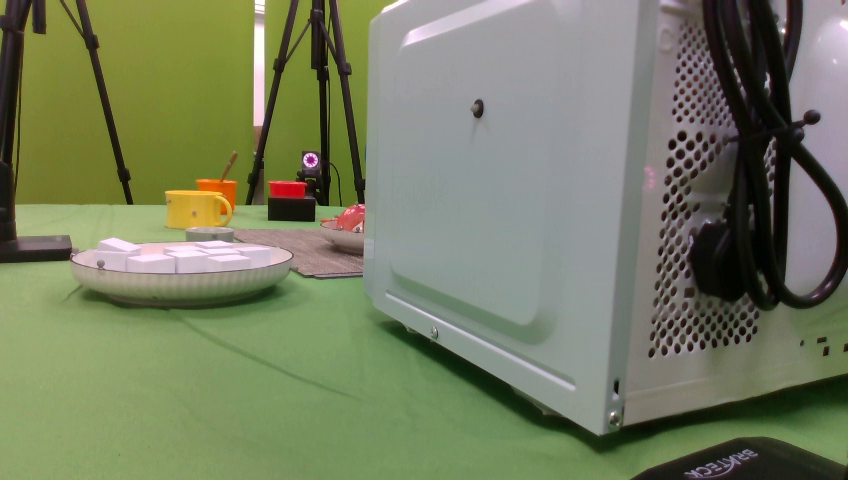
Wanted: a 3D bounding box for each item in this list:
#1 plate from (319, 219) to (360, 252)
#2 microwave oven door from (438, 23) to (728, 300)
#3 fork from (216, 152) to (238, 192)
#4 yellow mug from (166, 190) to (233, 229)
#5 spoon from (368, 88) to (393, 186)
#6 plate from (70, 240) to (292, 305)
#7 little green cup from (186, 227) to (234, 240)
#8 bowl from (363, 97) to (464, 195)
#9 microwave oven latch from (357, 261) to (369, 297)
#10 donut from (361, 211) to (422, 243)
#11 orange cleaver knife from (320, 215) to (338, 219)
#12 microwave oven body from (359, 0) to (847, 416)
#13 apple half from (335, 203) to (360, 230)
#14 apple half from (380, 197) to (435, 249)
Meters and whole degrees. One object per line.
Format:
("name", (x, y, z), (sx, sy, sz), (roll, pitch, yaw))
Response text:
("plate", (-0.058, -0.007, 0.939), (0.209, 0.038, 0.209), (3, 8, 0))
("microwave oven door", (0.181, -0.072, 0.621), (0.358, 0.243, 0.039), (-2, 8, -29))
("fork", (-0.455, -0.132, 1.367), (0.028, 0.018, 0.207), (-2, -35, -37))
("yellow mug", (-0.415, -0.057, 1.132), (0.130, 0.064, 0.100), (6, 8, 16))
("spoon", (-0.071, -0.167, 0.962), (0.021, 0.193, 0.042), (-17, -29, 17))
("plate", (-0.242, 0.031, 0.618), (0.208, 0.039, 0.207), (2, 8, 0))
("little green cup", (-0.285, 0.005, 0.805), (0.061, 0.038, 0.061), (2, 8, 0))
("bowl", (-0.002, -0.115, 0.847), (0.152, 0.151, 0.076), (-2, 40, -29))
("microwave oven latch", (-0.019, 0.033, 0.531), (0.079, 0.029, 0.030), (-1, 7, -27))
("donut", (-0.052, -0.019, 0.958), (0.099, 0.048, 0.099), (8, 7, -1))
("orange cleaver knife", (-0.142, -0.057, 1.394), (0.077, 0.012, 0.212), (3, 7, 44))
("microwave oven body", (0.211, -0.047, 0.474), (0.444, 0.260, 0.324), (-1, 7, -28))
("apple half", (-0.116, -0.038, 0.959), (0.081, 0.033, 0.081), (-37, 8, 7))
("apple half", (-0.020, -0.030, 0.889), (0.081, 0.053, 0.074), (-3, 49, -23))
